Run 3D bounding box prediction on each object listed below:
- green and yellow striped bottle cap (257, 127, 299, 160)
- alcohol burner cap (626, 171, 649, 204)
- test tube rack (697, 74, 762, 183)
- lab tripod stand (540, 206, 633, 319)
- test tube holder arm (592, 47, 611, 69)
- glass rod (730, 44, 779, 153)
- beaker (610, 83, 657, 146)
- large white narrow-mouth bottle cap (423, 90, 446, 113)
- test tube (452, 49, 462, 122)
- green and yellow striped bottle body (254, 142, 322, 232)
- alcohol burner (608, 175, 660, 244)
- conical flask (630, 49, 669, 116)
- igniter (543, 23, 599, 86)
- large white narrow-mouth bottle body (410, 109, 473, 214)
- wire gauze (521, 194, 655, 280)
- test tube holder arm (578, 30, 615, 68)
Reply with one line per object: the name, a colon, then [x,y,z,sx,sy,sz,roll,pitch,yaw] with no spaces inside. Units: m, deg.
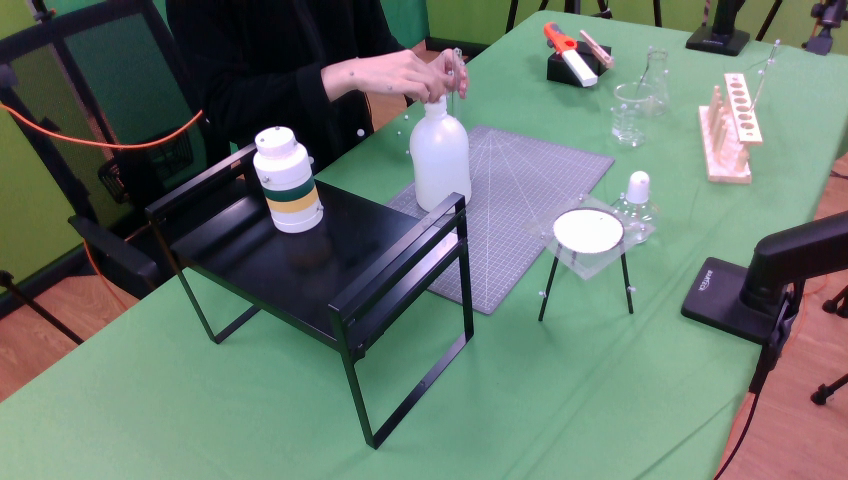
green and yellow striped bottle cap: [-0.169,-0.112,0.698,0.045,0.020,0.045,-5,40,5]
alcohol burner cap: [0.320,-0.081,0.900,0.034,0.048,0.033,-4,42,4]
test tube rack: [0.547,-0.208,1.095,0.066,0.085,0.242,5,42,15]
lab tripod stand: [0.217,0.034,0.821,0.148,0.132,0.147,-4,42,4]
test tube holder arm: [0.385,-0.398,1.317,0.010,0.015,0.087,-11,41,-2]
glass rod: [0.555,-0.234,1.020,0.008,0.200,0.008,2,40,-1]
beaker: [0.388,-0.235,1.138,0.074,0.101,0.083,-31,45,-25]
large white narrow-mouth bottle cap: [0.016,-0.217,0.948,0.038,0.024,0.037,-4,39,4]
test tube: [0.057,-0.260,1.051,0.017,0.151,0.017,-1,44,1]
green and yellow striped bottle body: [-0.165,-0.073,0.732,0.063,0.120,0.063,-4,41,4]
alcohol burner: [0.322,-0.053,0.924,0.078,0.119,0.077,-4,43,4]
conical flask: [0.457,-0.317,1.205,0.075,0.122,0.075,-4,41,4]
igniter: [0.320,-0.419,1.344,0.057,0.025,0.274,-12,44,-3]
large white narrow-mouth bottle body: [0.027,-0.145,1.006,0.102,0.195,0.101,-5,40,4]
wire gauze: [0.207,-0.012,0.772,0.122,0.011,0.124,-28,44,-20]
test tube holder arm: [0.383,-0.428,1.351,0.013,0.015,0.177,-12,41,-3]
